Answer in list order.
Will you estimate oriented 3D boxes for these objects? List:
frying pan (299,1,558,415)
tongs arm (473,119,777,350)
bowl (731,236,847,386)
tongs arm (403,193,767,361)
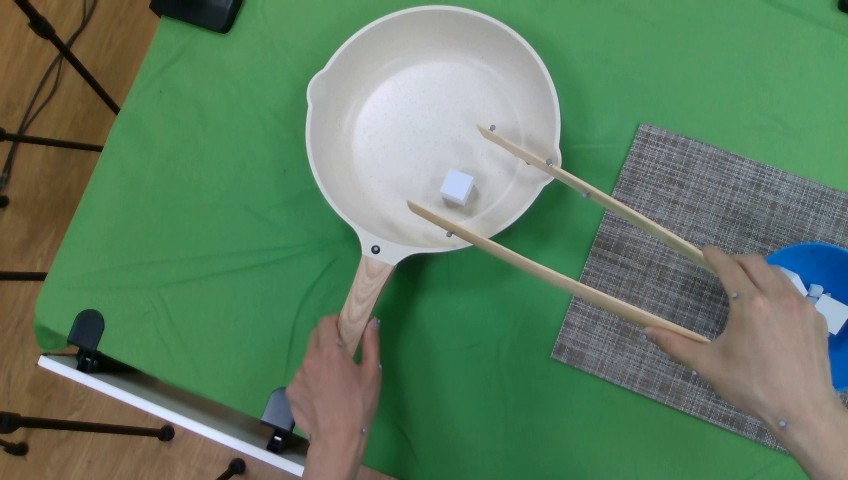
[{"bbox_3d":[-0.033,-0.038,0.690,0.306,0.103,0.486,21,76,9],"label":"frying pan"},{"bbox_3d":[0.166,-0.027,0.593,0.050,0.027,0.380,-45,52,-10],"label":"tongs arm"},{"bbox_3d":[0.393,0.075,0.642,0.151,0.077,0.151,-1,82,5],"label":"bowl"},{"bbox_3d":[0.121,0.023,0.582,0.384,0.028,0.028,27,68,36],"label":"tongs arm"}]
